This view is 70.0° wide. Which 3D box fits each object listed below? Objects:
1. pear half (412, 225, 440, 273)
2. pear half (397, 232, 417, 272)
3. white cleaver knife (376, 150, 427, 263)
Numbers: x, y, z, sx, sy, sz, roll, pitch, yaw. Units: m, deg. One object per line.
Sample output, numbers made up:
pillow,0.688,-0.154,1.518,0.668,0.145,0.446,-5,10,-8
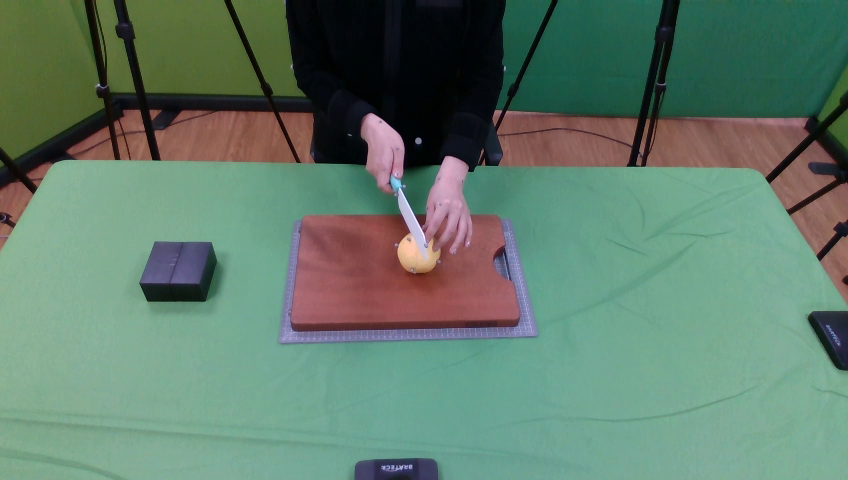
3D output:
pear half,0.002,0.009,1.089,0.056,0.110,0.076,-11,54,-13
pear half,-0.033,0.021,1.089,0.031,0.088,0.070,-11,54,-13
white cleaver knife,-0.043,-0.067,1.068,0.021,0.066,0.284,-11,43,-12
